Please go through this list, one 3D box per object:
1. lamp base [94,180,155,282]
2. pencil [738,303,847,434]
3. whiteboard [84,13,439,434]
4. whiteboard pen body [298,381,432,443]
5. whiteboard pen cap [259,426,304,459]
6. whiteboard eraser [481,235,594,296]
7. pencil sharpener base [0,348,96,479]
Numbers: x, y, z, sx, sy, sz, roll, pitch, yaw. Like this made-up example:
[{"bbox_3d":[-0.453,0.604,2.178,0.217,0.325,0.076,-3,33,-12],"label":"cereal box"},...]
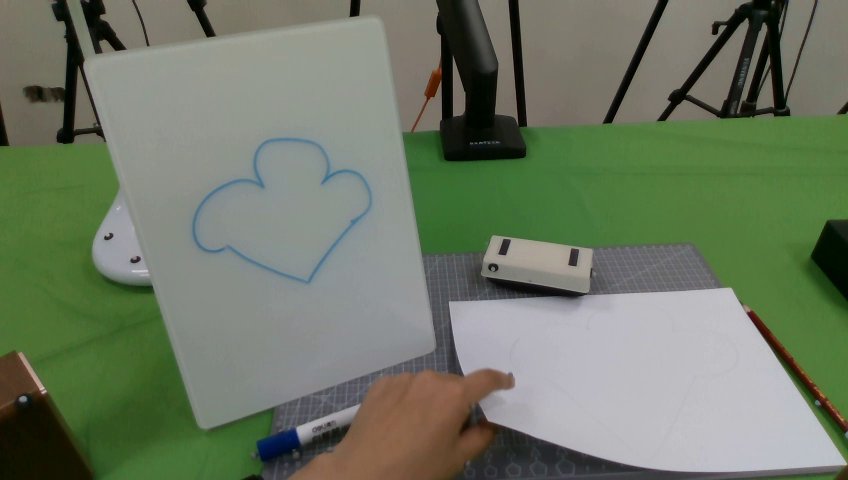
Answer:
[{"bbox_3d":[-0.309,-0.070,0.668,0.177,0.182,0.160,23,43,32],"label":"lamp base"},{"bbox_3d":[0.339,0.119,0.547,0.012,0.012,0.192,-6,35,-6],"label":"pencil"},{"bbox_3d":[-0.131,-0.025,0.549,0.218,0.307,0.142,-15,20,-17],"label":"whiteboard"},{"bbox_3d":[-0.059,0.145,0.500,0.141,0.017,0.017,-16,39,-17],"label":"whiteboard pen body"},{"bbox_3d":[-0.113,0.161,0.482,0.033,0.018,0.018,-16,39,-17],"label":"whiteboard pen cap"},{"bbox_3d":[0.121,0.028,0.641,0.112,0.042,0.055,9,39,13],"label":"whiteboard eraser"},{"bbox_3d":[-0.301,0.146,0.439,0.077,0.108,0.061,-31,47,-33],"label":"pencil sharpener base"}]
